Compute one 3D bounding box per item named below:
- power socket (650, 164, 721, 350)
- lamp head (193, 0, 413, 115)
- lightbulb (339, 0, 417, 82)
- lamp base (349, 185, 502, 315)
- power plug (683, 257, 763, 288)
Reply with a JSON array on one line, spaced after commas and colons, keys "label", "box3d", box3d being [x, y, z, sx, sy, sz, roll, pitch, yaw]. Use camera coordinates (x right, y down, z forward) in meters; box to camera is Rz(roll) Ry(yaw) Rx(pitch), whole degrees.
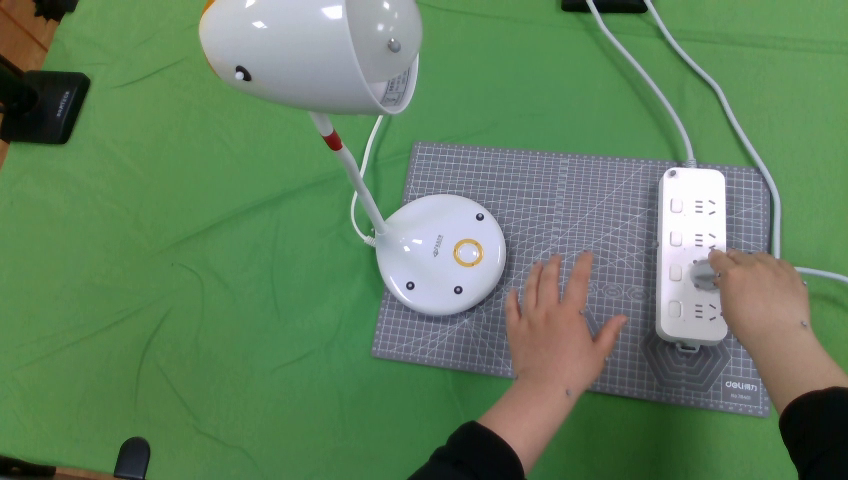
[{"label": "power socket", "box3d": [0.305, 0.013, 0.706, 0.072, 0.033, 0.225, 5, 71, 10]}, {"label": "lamp head", "box3d": [-0.077, -0.128, 0.383, 0.122, 0.113, 0.111, -4, 69, 24]}, {"label": "lightbulb", "box3d": [-0.057, -0.127, 0.368, 0.107, 0.060, 0.059, 6, 71, 20]}, {"label": "lamp base", "box3d": [-0.008, -0.012, 0.684, 0.179, 0.182, 0.159, 0, 70, 12]}, {"label": "power plug", "box3d": [0.327, 0.041, 0.673, 0.072, 0.053, 0.035, 18, 74, 11]}]
